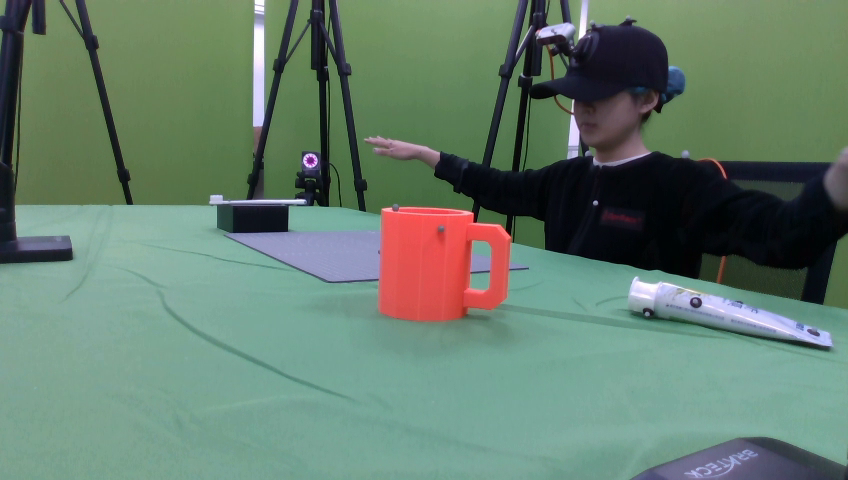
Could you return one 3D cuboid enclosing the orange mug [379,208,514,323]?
[{"bbox_3d":[0.019,0.021,0.557,0.126,0.100,0.084,1,6,20],"label":"orange mug"}]

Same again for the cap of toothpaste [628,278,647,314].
[{"bbox_3d":[0.209,0.055,0.589,0.011,0.037,0.037,11,11,28],"label":"cap of toothpaste"}]

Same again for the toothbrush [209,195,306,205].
[{"bbox_3d":[-0.303,-0.073,1.117,0.183,0.016,0.014,-2,6,-36],"label":"toothbrush"}]

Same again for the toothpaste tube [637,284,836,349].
[{"bbox_3d":[0.275,0.070,0.550,0.164,0.034,0.055,11,15,28],"label":"toothpaste tube"}]
